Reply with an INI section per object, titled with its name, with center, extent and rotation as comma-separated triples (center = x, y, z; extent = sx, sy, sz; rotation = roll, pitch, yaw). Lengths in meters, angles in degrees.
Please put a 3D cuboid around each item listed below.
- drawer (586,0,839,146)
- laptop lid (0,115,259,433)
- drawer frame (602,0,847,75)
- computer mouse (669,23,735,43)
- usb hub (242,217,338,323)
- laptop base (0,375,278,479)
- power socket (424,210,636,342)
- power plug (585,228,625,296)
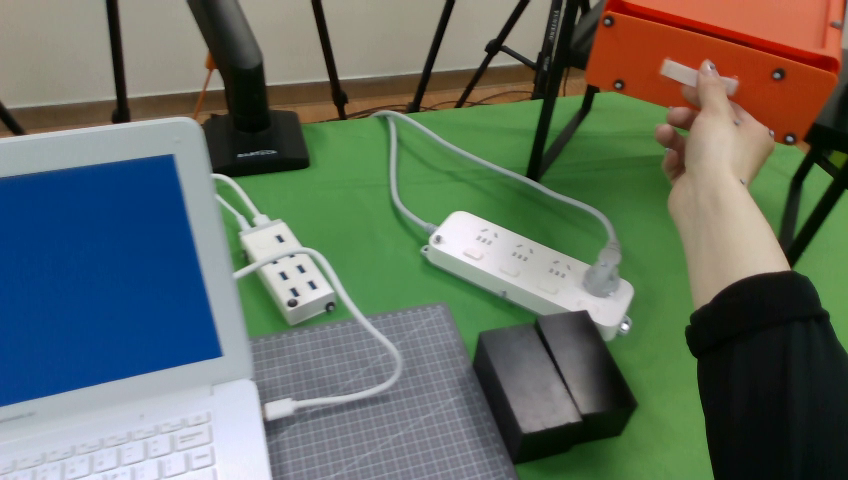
[drawer]
center = 0.285, -0.196, 0.586
extent = 0.193, 0.074, 0.211
rotation = 22, 46, 18
[laptop lid]
center = -0.309, 0.047, 0.410
extent = 0.357, 0.243, 0.013
rotation = -12, 33, -15
[drawer frame]
center = 0.297, -0.214, 0.604
extent = 0.200, 0.083, 0.213
rotation = 22, 46, 17
[computer mouse]
center = 0.269, -0.172, 0.578
extent = 0.063, 0.041, 0.116
rotation = -12, 51, -22
[usb hub]
center = -0.138, 0.027, 0.611
extent = 0.049, 0.025, 0.124
rotation = -23, 50, -26
[laptop base]
center = -0.270, 0.228, 0.395
extent = 0.355, 0.023, 0.233
rotation = -11, 49, -16
[power socket]
center = 0.109, 0.033, 0.625
extent = 0.225, 0.033, 0.072
rotation = 25, 47, 20
[power plug]
center = 0.189, 0.029, 0.603
extent = 0.035, 0.053, 0.072
rotation = 33, 52, 27
